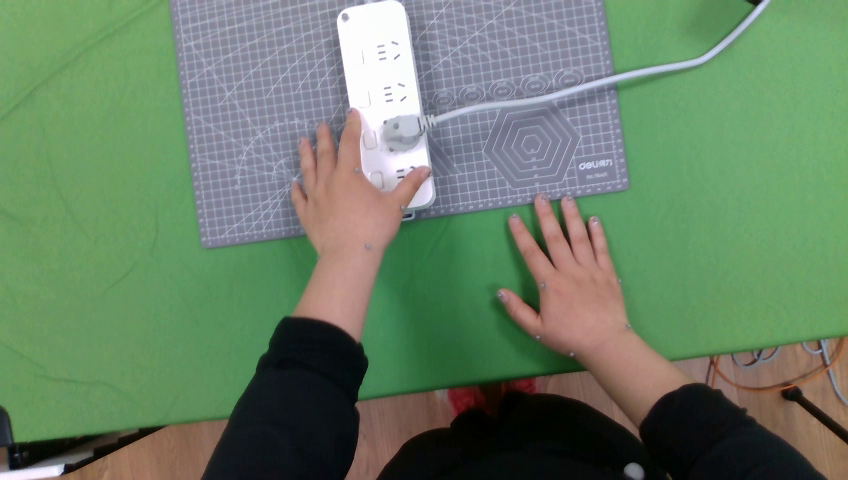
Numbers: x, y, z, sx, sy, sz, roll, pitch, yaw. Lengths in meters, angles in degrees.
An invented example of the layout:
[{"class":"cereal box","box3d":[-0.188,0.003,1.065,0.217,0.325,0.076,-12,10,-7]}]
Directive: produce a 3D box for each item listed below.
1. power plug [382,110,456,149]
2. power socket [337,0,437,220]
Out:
[{"class":"power plug","box3d":[-0.005,-0.106,0.592,0.072,0.052,0.035,2,91,3]},{"class":"power socket","box3d":[-0.037,-0.133,0.614,0.072,0.032,0.226,-9,89,4]}]
